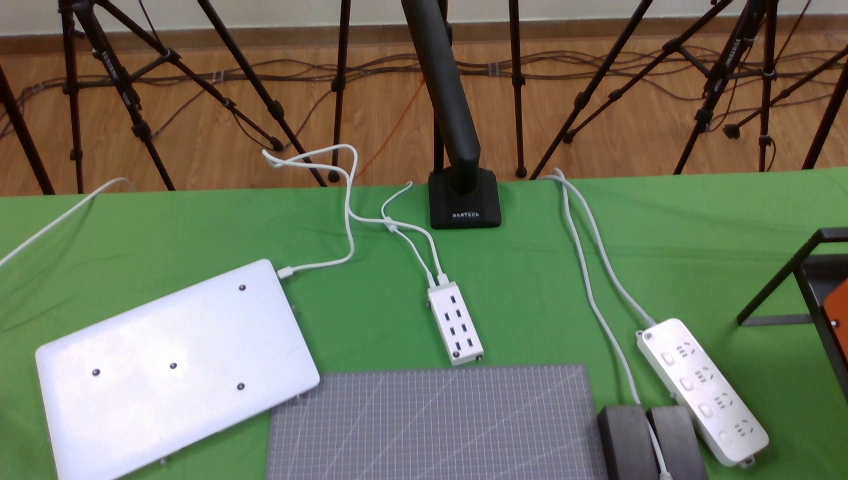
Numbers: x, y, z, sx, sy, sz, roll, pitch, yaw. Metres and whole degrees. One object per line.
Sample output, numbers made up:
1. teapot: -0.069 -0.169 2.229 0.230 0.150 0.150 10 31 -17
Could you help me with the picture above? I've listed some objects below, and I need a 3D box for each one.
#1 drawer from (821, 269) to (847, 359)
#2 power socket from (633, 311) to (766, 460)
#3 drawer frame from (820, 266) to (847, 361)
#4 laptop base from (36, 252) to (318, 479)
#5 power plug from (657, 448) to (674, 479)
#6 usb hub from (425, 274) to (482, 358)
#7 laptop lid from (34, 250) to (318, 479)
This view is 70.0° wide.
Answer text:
1. drawer: 0.585 0.125 0.663 0.212 0.074 0.192 -1 57 -2
2. power socket: 0.385 0.199 0.855 0.072 0.033 0.224 -21 60 -14
3. drawer frame: 0.589 0.123 0.663 0.214 0.083 0.199 -2 57 -3
4. laptop base: -0.355 0.173 0.874 0.355 0.023 0.233 -23 63 -14
5. power plug: 0.295 0.308 0.760 0.035 0.053 0.072 28 41 -2
6. usb hub: 0.042 0.113 0.911 0.049 0.025 0.124 -15 59 -9
7. laptop lid: -0.354 0.168 0.862 0.357 0.013 0.239 -22 62 -13
